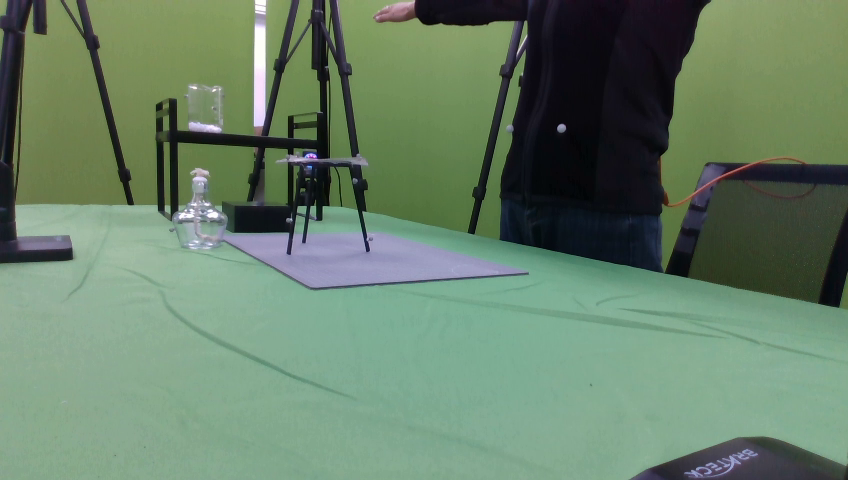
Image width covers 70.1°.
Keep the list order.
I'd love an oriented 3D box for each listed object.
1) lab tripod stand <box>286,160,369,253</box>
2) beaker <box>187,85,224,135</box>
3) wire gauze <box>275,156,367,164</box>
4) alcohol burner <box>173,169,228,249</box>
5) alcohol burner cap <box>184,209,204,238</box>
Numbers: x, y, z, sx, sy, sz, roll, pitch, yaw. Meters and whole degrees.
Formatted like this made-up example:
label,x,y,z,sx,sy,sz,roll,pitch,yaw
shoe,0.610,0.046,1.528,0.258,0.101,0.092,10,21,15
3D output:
label,x,y,z,sx,sy,sz,roll,pitch,yaw
lab tripod stand,-0.157,-0.053,0.901,0.148,0.131,0.148,0,7,0
beaker,-0.466,-0.276,1.296,0.074,0.100,0.083,-3,10,-35
wire gauze,-0.148,-0.119,0.895,0.121,0.011,0.125,1,7,-3
alcohol burner,-0.333,-0.047,0.903,0.078,0.119,0.078,2,6,0
alcohol burner cap,-0.389,-0.029,1.025,0.034,0.048,0.034,2,9,0
